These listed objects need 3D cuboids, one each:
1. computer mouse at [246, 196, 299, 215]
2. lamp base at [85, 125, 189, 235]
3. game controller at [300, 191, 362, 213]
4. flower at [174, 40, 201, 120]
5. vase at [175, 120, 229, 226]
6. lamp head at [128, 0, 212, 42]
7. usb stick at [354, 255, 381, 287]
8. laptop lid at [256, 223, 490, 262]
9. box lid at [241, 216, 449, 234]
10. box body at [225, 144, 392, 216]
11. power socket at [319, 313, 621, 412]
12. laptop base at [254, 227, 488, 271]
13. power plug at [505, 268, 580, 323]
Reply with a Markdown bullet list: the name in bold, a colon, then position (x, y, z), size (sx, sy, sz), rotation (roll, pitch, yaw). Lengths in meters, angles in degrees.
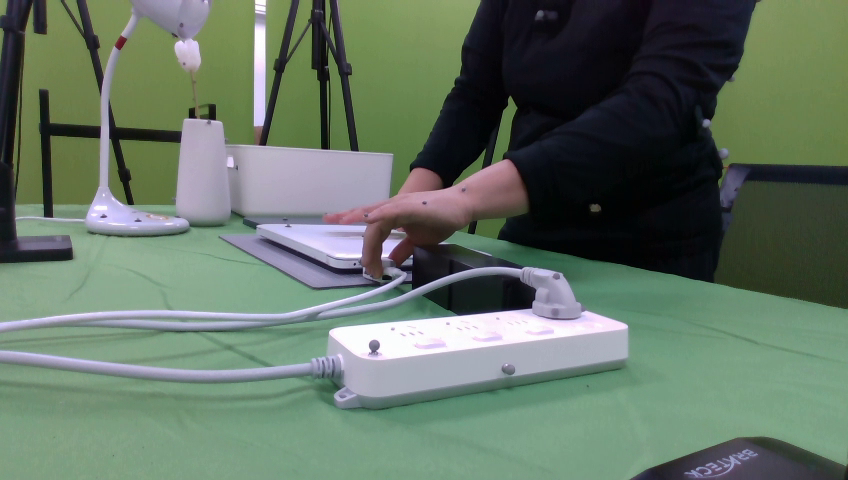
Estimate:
- **computer mouse**: position (-0.355, -0.082, 1.417), size (0.117, 0.041, 0.063), rotation (1, 9, 7)
- **lamp base**: position (-0.498, -0.105, 1.026), size (0.179, 0.180, 0.160), rotation (1, 7, 3)
- **game controller**: position (-0.241, -0.098, 1.549), size (0.155, 0.051, 0.097), rotation (3, 9, 5)
- **flower**: position (-0.430, -0.211, 1.165), size (0.044, 0.361, 0.038), rotation (-10, -5, -22)
- **vase**: position (-0.425, -0.127, 1.158), size (0.098, 0.200, 0.098), rotation (2, 9, 0)
- **lamp head**: position (-0.423, -0.394, 0.979), size (0.123, 0.112, 0.112), rotation (20, 7, -3)
- **usb stick**: position (-0.065, 0.036, 0.685), size (0.021, 0.027, 0.059), rotation (30, -12, -2)
- **laptop lid**: position (-0.093, 0.000, 0.911), size (0.243, 0.013, 0.355), rotation (1, 7, -30)
- **box lid**: position (-0.162, -0.030, 1.233), size (0.373, 0.015, 0.262), rotation (-1, 7, -32)
- **box body**: position (-0.289, -0.143, 1.474), size (0.366, 0.160, 0.253), rotation (-1, 9, -29)
- **power socket**: position (0.038, 0.076, 0.409), size (0.228, 0.032, 0.072), rotation (-1, 8, -28)
- **laptop base**: position (-0.096, 0.011, 0.911), size (0.237, 0.023, 0.352), rotation (2, 6, -32)
- **power plug**: position (0.091, 0.051, 0.469), size (0.035, 0.052, 0.072), rotation (0, 7, -16)
